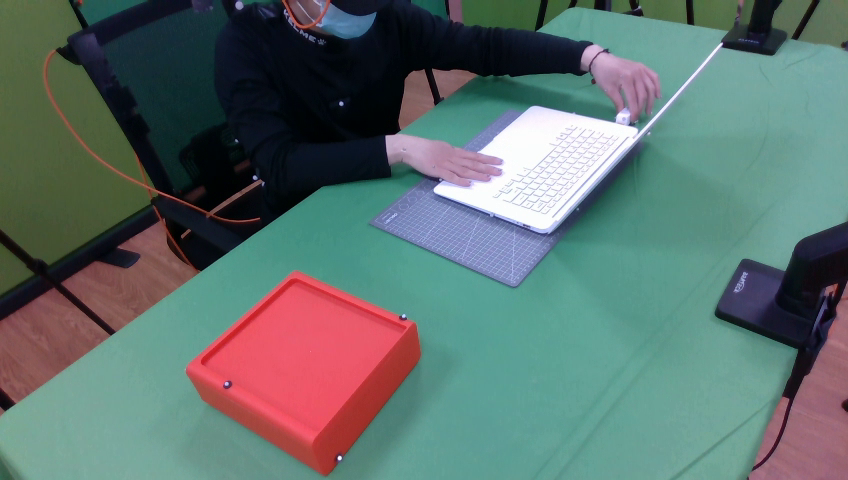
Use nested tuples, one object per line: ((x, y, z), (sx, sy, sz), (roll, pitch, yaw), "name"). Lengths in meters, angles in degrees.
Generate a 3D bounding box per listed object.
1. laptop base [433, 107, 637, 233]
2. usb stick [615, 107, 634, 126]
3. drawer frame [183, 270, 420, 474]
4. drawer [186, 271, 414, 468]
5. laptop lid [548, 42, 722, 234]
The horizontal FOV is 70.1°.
((0.210, -0.142, 1.111), (0.233, 0.023, 0.355), (21, 48, 33), "laptop base")
((0.387, -0.234, 1.176), (0.021, 0.027, 0.059), (21, 47, 29), "usb stick")
((-0.148, 0.153, 0.767), (0.212, 0.083, 0.202), (20, 46, 27), "drawer frame")
((-0.150, 0.153, 0.768), (0.210, 0.073, 0.195), (20, 46, 28), "drawer")
((0.335, -0.161, 0.956), (0.013, 0.241, 0.358), (42, 54, 8), "laptop lid")
